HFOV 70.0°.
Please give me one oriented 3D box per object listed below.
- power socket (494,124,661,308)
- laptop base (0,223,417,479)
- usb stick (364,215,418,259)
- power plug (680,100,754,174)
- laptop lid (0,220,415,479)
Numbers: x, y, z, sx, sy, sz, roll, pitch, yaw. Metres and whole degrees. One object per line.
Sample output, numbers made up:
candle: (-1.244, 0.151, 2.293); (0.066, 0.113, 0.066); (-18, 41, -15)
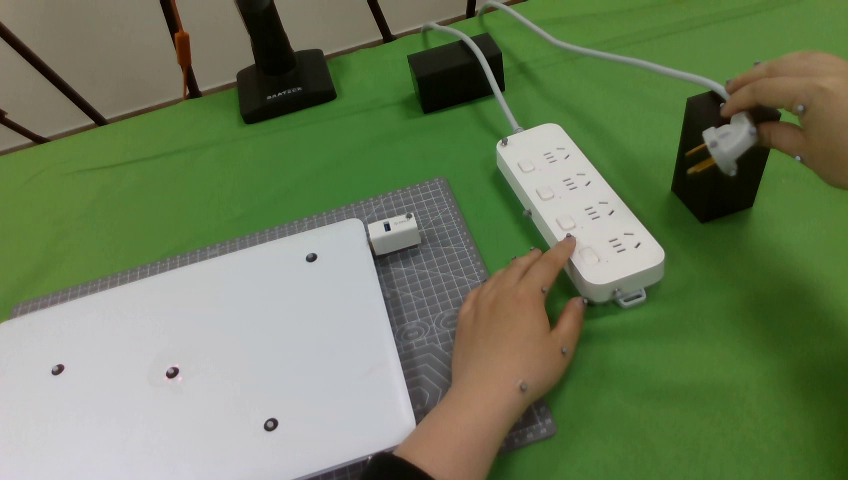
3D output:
power socket: (0.132, -0.032, 0.554); (0.072, 0.033, 0.224); (-19, 47, -6)
laptop base: (-0.199, 0.118, 0.499); (0.354, 0.023, 0.233); (-17, 50, -4)
usb stick: (-0.037, -0.001, 0.556); (0.059, 0.027, 0.021); (-18, 46, 0)
power plug: (0.220, -0.072, 0.456); (0.052, 0.035, 0.072); (-29, 7, 34)
laptop lid: (-0.200, 0.112, 0.488); (0.357, 0.013, 0.239); (-16, 49, -2)
